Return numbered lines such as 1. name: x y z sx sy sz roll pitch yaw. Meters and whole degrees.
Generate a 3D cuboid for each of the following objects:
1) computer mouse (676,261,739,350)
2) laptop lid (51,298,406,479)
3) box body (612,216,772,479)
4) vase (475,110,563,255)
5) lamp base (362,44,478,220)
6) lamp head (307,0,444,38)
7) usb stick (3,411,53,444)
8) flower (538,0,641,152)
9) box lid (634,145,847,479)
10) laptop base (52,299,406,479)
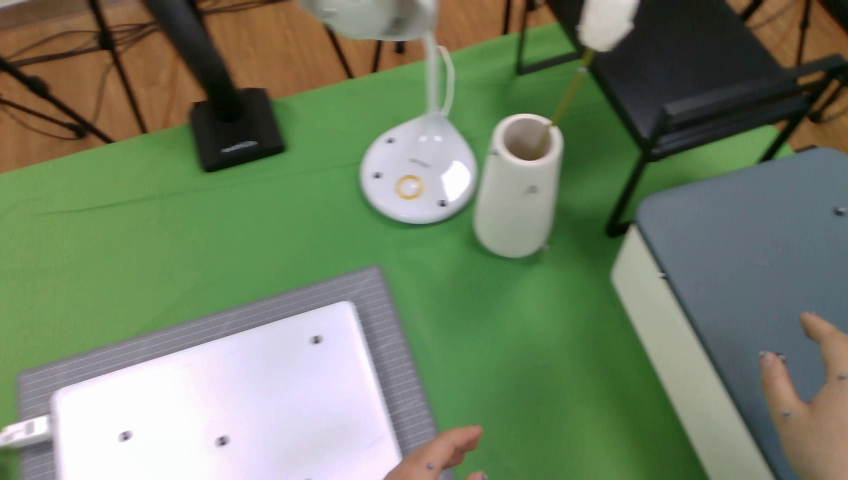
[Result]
1. computer mouse: 0.342 0.074 0.727 0.062 0.041 0.116 14 57 12
2. laptop lid: -0.219 0.215 0.661 0.357 0.013 0.239 -15 66 -7
3. box body: 0.391 0.111 0.643 0.254 0.161 0.360 -15 63 -7
4. vase: 0.111 -0.063 0.715 0.098 0.201 0.097 -1 61 2
5. lamp base: -0.003 -0.145 0.769 0.160 0.181 0.178 13 61 7
6. lamp head: -0.030 -0.236 0.479 0.112 0.113 0.122 10 81 6
7. usb stick: -0.426 0.204 0.666 0.059 0.027 0.021 -13 63 -12
8. flower: 0.129 -0.107 0.645 0.038 0.364 0.043 -1 52 -19
9. box lid: 0.389 0.074 0.578 0.263 0.015 0.368 -15 63 -8
10. laptop base: -0.219 0.218 0.672 0.355 0.023 0.233 -17 67 -8
